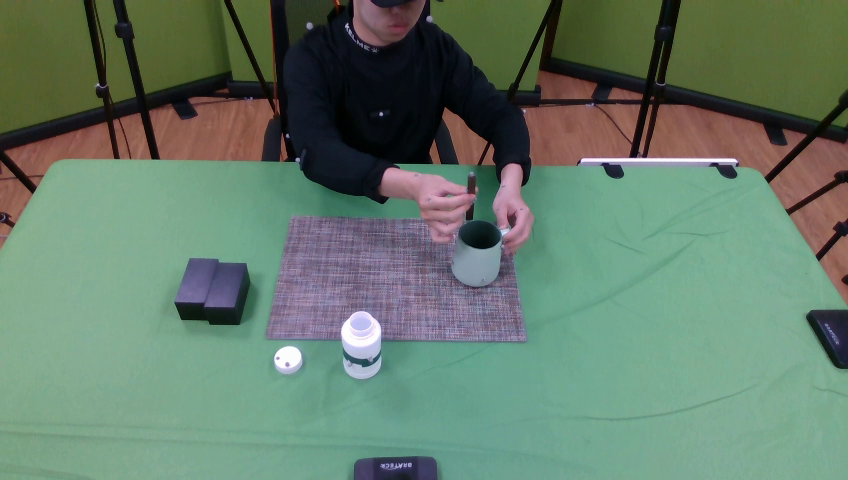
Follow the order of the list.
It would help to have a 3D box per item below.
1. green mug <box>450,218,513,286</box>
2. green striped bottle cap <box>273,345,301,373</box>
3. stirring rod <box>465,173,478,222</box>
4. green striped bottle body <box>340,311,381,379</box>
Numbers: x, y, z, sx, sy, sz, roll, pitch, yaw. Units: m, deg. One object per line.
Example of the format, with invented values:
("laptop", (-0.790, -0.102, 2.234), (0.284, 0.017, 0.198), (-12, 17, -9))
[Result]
("green mug", (0.111, 0.018, 1.126), (0.125, 0.105, 0.092), (-22, 51, -24))
("green striped bottle cap", (-0.225, 0.195, 0.997), (0.044, 0.020, 0.044), (2, 50, -3))
("stirring rod", (0.078, -0.068, 1.012), (0.014, 0.177, 0.006), (-10, 68, -2))
("green striped bottle body", (-0.101, 0.164, 0.964), (0.063, 0.120, 0.063), (2, 46, -2))
